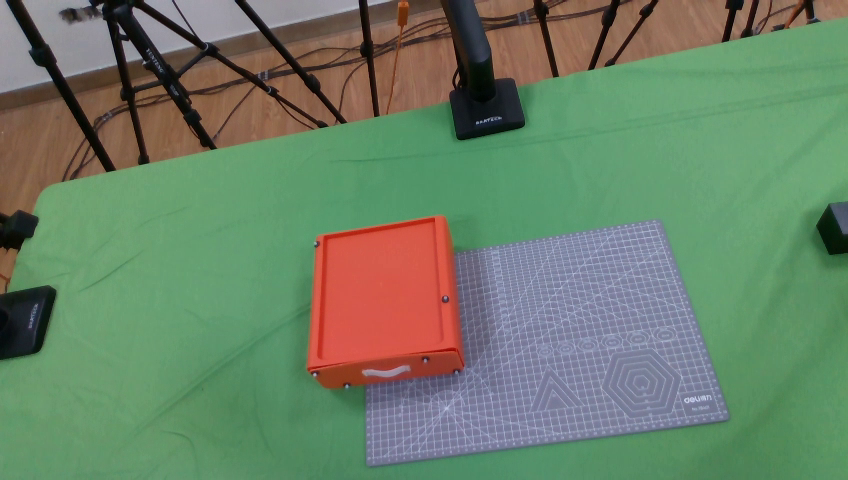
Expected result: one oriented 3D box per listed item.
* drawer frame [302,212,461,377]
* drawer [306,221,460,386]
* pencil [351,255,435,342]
[{"bbox_3d":[-0.060,0.081,0.851,0.201,0.083,0.211,-10,56,7],"label":"drawer frame"},{"bbox_3d":[-0.058,0.086,0.849,0.194,0.074,0.209,-10,55,8],"label":"drawer"},{"bbox_3d":[-0.047,0.083,0.879,0.012,0.012,0.192,-40,61,-13],"label":"pencil"}]
